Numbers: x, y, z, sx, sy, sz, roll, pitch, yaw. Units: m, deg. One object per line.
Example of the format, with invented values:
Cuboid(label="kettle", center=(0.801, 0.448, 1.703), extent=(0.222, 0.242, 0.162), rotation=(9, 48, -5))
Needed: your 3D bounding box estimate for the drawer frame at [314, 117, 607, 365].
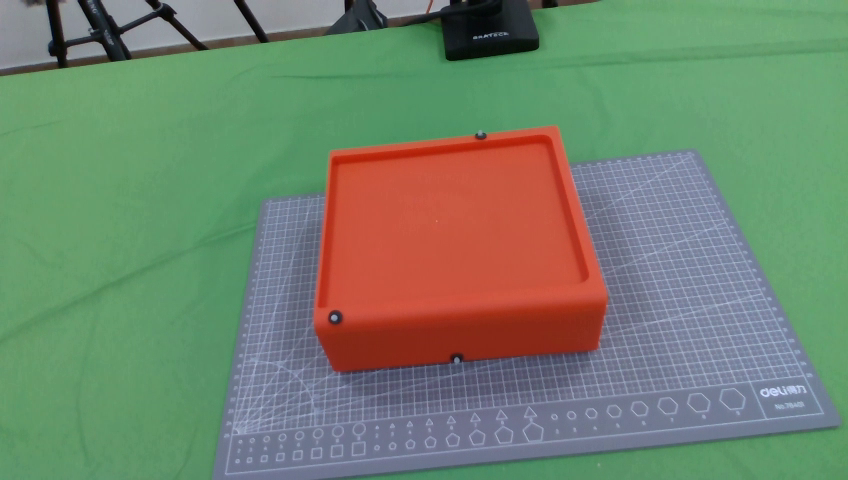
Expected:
Cuboid(label="drawer frame", center=(0.027, -0.004, 0.514), extent=(0.213, 0.083, 0.199), rotation=(-7, 50, 3))

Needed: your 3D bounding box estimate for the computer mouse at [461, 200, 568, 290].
Cuboid(label="computer mouse", center=(0.077, -0.003, 0.511), extent=(0.062, 0.041, 0.117), rotation=(1, 33, 31))

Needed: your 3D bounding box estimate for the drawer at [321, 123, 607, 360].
Cuboid(label="drawer", center=(0.029, -0.004, 0.515), extent=(0.212, 0.074, 0.192), rotation=(-6, 50, 4))
